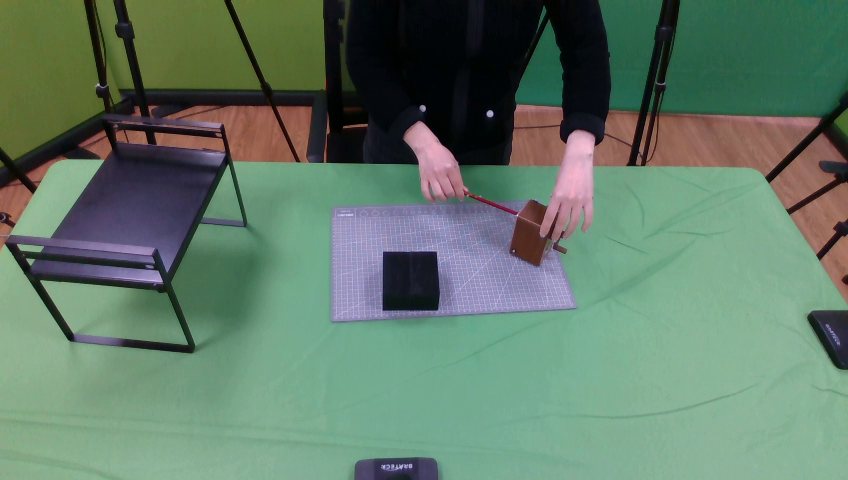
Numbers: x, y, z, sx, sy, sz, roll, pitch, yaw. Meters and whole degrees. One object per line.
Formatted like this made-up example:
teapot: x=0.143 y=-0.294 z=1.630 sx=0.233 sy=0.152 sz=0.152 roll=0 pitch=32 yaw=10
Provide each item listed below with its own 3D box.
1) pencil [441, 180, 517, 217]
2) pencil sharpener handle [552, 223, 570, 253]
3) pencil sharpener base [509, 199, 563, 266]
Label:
pencil: x=0.117 y=-0.075 z=1.170 sx=0.193 sy=0.012 sz=0.012 roll=26 pitch=50 yaw=19
pencil sharpener handle: x=0.261 y=-0.002 z=1.135 sx=0.030 sy=0.068 sz=0.036 roll=27 pitch=63 yaw=20
pencil sharpener base: x=0.216 y=-0.012 z=1.160 sx=0.076 sy=0.107 sz=0.061 roll=27 pitch=51 yaw=20
